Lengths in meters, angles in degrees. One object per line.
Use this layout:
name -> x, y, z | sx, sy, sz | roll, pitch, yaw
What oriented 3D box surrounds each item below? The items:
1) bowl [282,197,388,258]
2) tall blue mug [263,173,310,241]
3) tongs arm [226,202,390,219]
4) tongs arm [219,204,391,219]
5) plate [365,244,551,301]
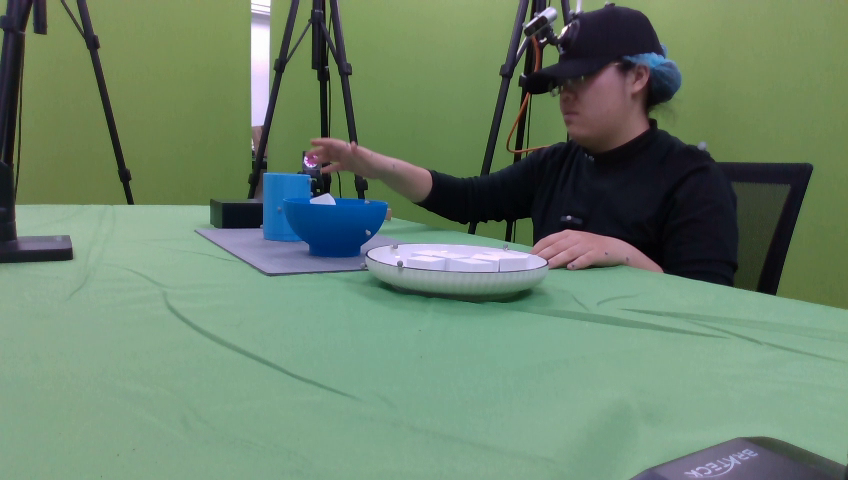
bowl -> -0.128, -0.018, 0.869 | 0.151, 0.077, 0.151 | 2, 8, 0
tall blue mug -> -0.233, -0.058, 1.019 | 0.078, 0.108, 0.107 | -1, 8, -19
tongs arm -> -0.275, -0.071, 1.445 | 0.388, 0.027, 0.028 | 2, -1, -4
tongs arm -> -0.258, -0.065, 1.367 | 0.386, 0.026, 0.050 | 1, 3, -17
plate -> 0.038, 0.035, 0.685 | 0.209, 0.038, 0.209 | 2, 7, 0
